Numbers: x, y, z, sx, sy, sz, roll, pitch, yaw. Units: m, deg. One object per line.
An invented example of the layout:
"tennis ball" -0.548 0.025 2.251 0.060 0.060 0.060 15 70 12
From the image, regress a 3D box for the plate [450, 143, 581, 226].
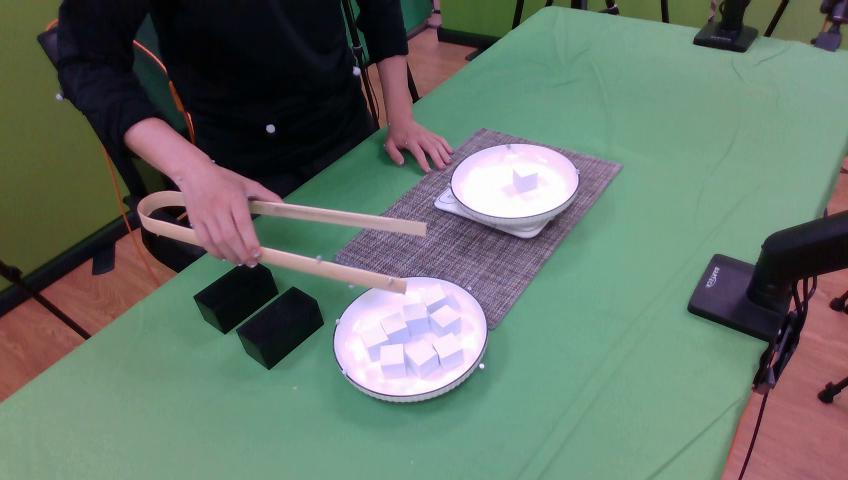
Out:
"plate" 0.148 -0.087 0.986 0.209 0.038 0.208 -4 41 4

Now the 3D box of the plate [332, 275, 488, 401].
"plate" -0.017 0.131 0.808 0.207 0.039 0.206 -4 41 4

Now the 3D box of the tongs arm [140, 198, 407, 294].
"tongs arm" -0.202 0.006 0.791 0.384 0.026 0.050 12 46 8

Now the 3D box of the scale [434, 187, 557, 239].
"scale" 0.132 -0.075 1.025 0.199 0.032 0.149 22 48 30

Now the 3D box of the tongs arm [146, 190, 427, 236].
"tongs arm" -0.188 -0.035 0.836 0.387 0.028 0.028 7 49 3
